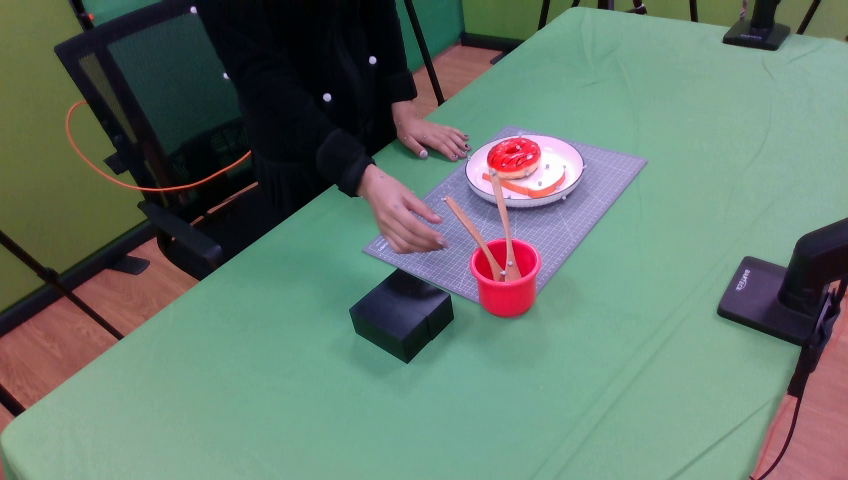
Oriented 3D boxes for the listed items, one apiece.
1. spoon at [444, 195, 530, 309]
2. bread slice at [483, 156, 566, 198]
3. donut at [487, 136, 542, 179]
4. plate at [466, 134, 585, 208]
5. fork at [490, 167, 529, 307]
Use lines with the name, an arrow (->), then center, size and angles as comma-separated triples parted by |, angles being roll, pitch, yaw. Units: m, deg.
spoon -> 0.087, 0.015, 0.849 | 0.042, 0.021, 0.193 | -31, 89, -31
bread slice -> 0.187, -0.120, 1.077 | 0.130, 0.019, 0.105 | 27, 53, 37
donut -> 0.159, -0.147, 1.068 | 0.099, 0.048, 0.098 | -9, 39, 8
plate -> 0.178, -0.120, 1.075 | 0.209, 0.038, 0.208 | -5, 40, 5
fork -> 0.118, -0.006, 0.857 | 0.028, 0.018, 0.206 | -7, 81, -13
